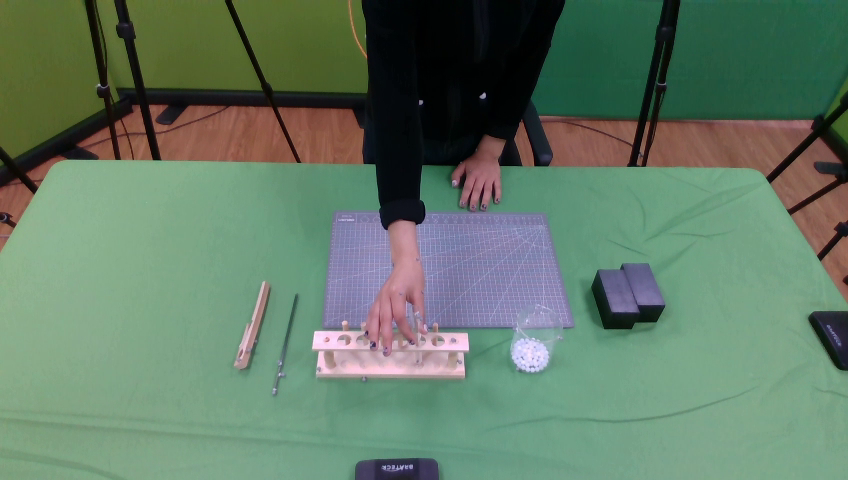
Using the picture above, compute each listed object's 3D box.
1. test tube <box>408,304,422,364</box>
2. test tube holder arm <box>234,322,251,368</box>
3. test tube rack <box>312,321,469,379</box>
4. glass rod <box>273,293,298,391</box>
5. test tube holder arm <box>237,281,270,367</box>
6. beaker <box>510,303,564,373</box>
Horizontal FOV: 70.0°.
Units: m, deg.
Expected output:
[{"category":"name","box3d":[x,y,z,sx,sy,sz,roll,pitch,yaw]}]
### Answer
[{"category":"test tube","box3d":[-0.013,0.148,0.933,0.017,0.151,0.017,-1,48,2]},{"category":"test tube holder arm","box3d":[-0.299,0.174,1.013,0.010,0.015,0.087,-18,41,23]},{"category":"test tube rack","box3d":[-0.053,0.174,0.984,0.242,0.085,0.066,1,46,-3]},{"category":"glass rod","box3d":[-0.234,0.167,1.030,0.008,0.008,0.198,3,46,0]},{"category":"test tube holder arm","box3d":[-0.291,0.141,1.042,0.013,0.015,0.177,-19,40,22]},{"category":"beaker","box3d":[0.182,0.164,1.000,0.074,0.101,0.083,2,45,-1]}]
